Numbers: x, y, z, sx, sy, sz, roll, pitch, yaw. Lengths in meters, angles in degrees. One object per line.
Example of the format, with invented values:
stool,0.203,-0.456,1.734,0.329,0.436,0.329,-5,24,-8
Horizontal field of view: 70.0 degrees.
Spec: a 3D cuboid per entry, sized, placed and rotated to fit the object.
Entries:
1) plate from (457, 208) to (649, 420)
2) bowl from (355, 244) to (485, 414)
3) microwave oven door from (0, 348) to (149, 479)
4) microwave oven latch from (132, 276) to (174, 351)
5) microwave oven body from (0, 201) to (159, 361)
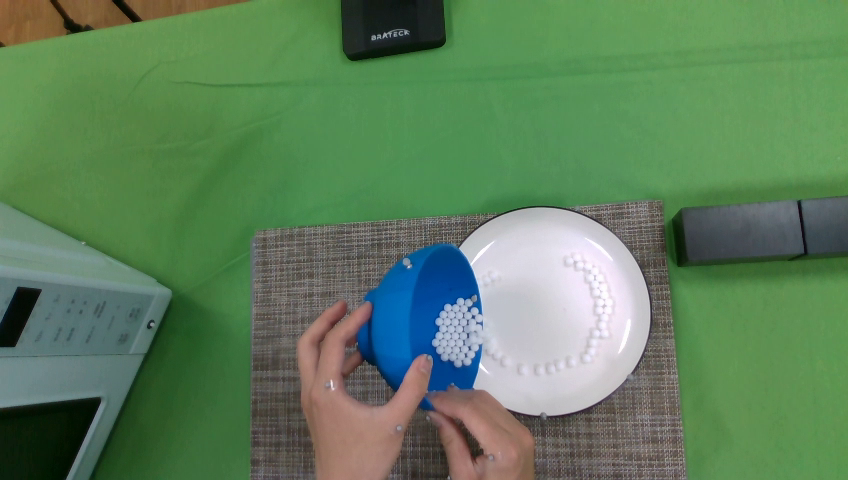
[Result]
plate,0.115,0.072,0.608,0.207,0.039,0.207,-2,81,11
bowl,-0.010,0.080,0.553,0.076,0.152,0.151,-4,80,28
microwave oven door,-0.423,0.266,0.571,0.039,0.245,0.355,23,86,15
microwave oven latch,-0.312,0.083,0.682,0.030,0.029,0.079,25,88,14
microwave oven body,-0.536,0.175,0.615,0.324,0.261,0.441,23,87,14
